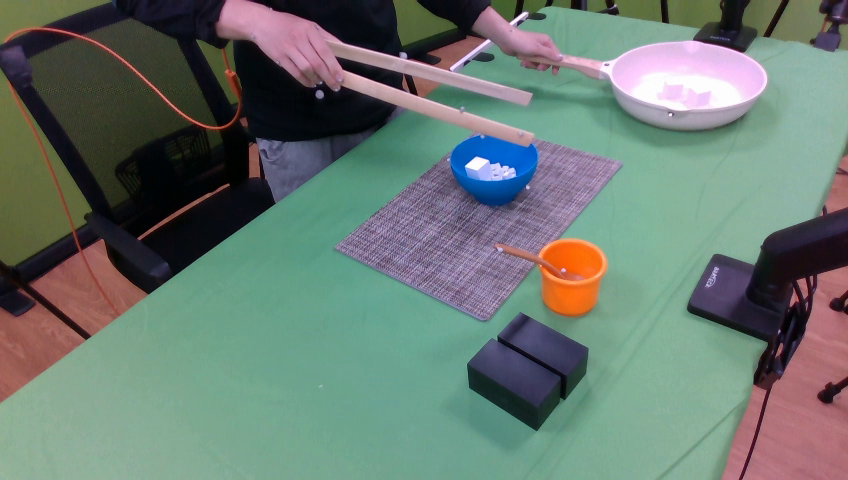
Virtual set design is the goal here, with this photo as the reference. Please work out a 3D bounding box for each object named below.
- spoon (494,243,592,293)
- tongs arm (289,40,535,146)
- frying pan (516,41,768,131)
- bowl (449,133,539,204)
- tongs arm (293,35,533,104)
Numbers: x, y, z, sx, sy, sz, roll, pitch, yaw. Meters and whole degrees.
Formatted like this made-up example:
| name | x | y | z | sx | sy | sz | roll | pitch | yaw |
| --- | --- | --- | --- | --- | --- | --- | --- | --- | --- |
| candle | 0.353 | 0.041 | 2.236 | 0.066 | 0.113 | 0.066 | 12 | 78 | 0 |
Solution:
| name | x | y | z | sx | sy | sz | roll | pitch | yaw |
| --- | --- | --- | --- | --- | --- | --- | --- | --- | --- |
| spoon | 0.161 | 0.034 | 0.808 | 0.021 | 0.195 | 0.041 | -48 | 39 | 20 |
| tongs arm | -0.018 | -0.220 | 0.910 | 0.386 | 0.026 | 0.050 | 16 | 48 | -6 |
| frying pan | 0.424 | -0.338 | 1.236 | 0.486 | 0.103 | 0.307 | 18 | 45 | 15 |
| bowl | 0.121 | -0.114 | 1.034 | 0.151 | 0.077 | 0.150 | -4 | 41 | 4 |
| tongs arm | -0.011 | -0.266 | 0.953 | 0.389 | 0.028 | 0.028 | 10 | 53 | -12 |
